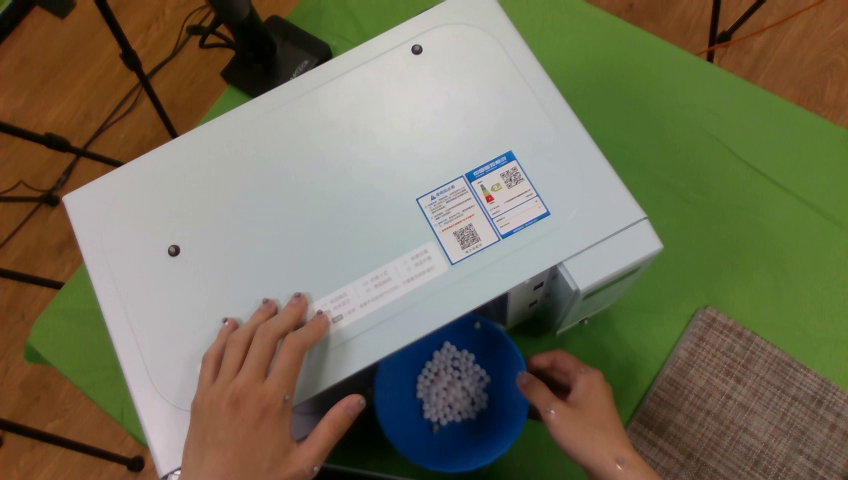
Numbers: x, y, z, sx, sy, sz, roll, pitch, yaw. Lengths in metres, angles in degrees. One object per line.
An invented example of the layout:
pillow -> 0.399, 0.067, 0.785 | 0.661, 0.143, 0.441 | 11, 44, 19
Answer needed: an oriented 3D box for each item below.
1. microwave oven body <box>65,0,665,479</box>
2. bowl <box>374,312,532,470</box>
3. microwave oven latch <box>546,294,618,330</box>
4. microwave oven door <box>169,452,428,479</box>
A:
microwave oven body -> -0.057, 0.004, 0.631 | 0.442, 0.262, 0.323 | -28, 73, -2
bowl -> 0.028, 0.149, 0.608 | 0.151, 0.077, 0.150 | 0, 75, 1
microwave oven latch -> 0.179, 0.072, 0.686 | 0.079, 0.030, 0.030 | -27, 73, -1
microwave oven door -> -0.011, 0.244, 0.548 | 0.355, 0.245, 0.039 | 7, 73, 8
